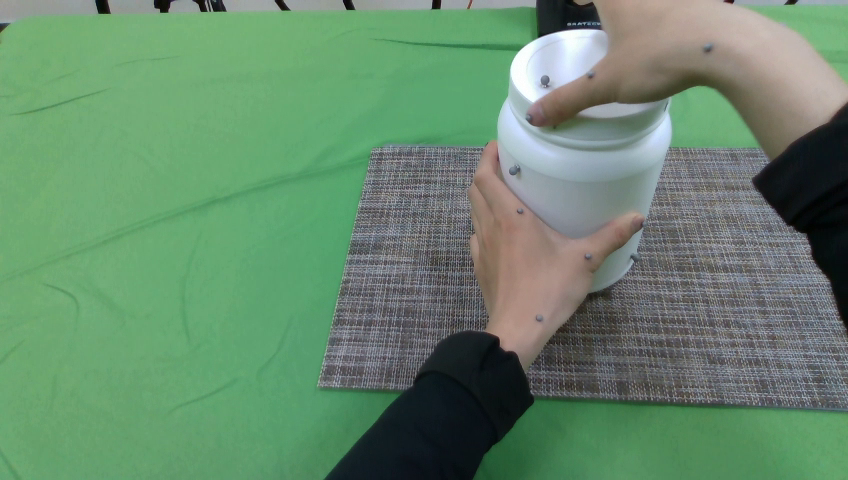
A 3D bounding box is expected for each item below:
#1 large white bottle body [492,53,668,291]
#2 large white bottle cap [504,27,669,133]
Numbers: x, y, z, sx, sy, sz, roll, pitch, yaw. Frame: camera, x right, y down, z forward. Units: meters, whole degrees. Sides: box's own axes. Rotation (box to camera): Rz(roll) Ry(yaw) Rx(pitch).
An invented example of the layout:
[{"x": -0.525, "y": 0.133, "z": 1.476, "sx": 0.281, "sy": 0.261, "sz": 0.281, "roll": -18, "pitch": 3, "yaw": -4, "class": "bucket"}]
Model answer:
[{"x": 0.122, "y": -0.060, "z": 0.498, "sx": 0.130, "sy": 0.186, "sz": 0.129, "roll": -2, "pitch": 48, "yaw": 3, "class": "large white bottle body"}, {"x": 0.115, "y": -0.117, "z": 0.435, "sx": 0.115, "sy": 0.018, "sz": 0.113, "roll": -2, "pitch": 48, "yaw": 3, "class": "large white bottle cap"}]
